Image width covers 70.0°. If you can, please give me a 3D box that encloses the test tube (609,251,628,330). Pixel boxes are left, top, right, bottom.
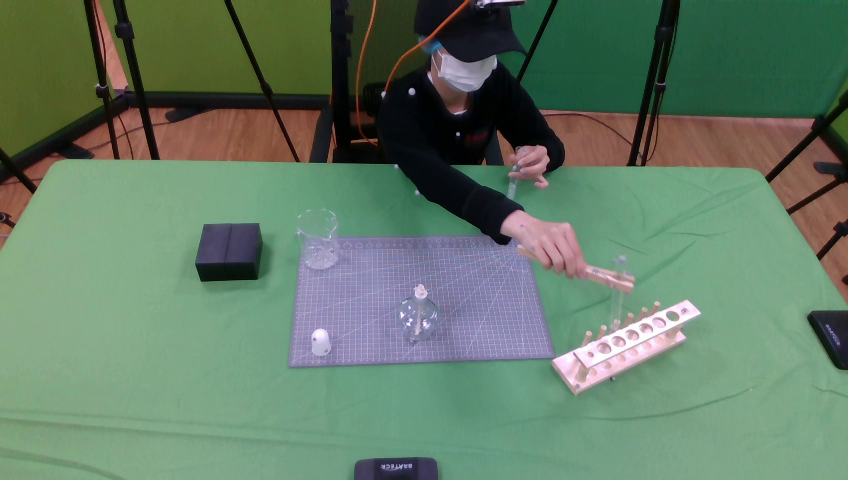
[{"bbox_3d":[0.292,0.079,0.913,0.017,0.151,0.017,-4,36,3],"label":"test tube"}]

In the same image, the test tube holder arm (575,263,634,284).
[{"bbox_3d":[0.270,0.052,0.909,0.087,0.015,0.010,14,37,11],"label":"test tube holder arm"}]

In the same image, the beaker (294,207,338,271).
[{"bbox_3d":[-0.196,0.003,1.123,0.074,0.101,0.083,-23,52,-24],"label":"beaker"}]

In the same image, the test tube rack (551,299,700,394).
[{"bbox_3d":[0.339,0.166,1.021,0.242,0.085,0.066,-19,50,-21],"label":"test tube rack"}]

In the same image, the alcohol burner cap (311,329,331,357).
[{"bbox_3d":[-0.173,0.168,1.004,0.034,0.048,0.033,2,46,-2],"label":"alcohol burner cap"}]

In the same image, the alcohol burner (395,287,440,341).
[{"bbox_3d":[-0.010,0.116,1.018,0.078,0.119,0.077,3,47,-3],"label":"alcohol burner"}]

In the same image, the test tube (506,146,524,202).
[{"bbox_3d":[0.180,-0.128,1.202,0.017,0.151,0.017,1,52,-1],"label":"test tube"}]

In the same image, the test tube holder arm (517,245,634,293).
[{"bbox_3d":[0.226,0.043,0.917,0.178,0.015,0.013,19,38,17],"label":"test tube holder arm"}]
